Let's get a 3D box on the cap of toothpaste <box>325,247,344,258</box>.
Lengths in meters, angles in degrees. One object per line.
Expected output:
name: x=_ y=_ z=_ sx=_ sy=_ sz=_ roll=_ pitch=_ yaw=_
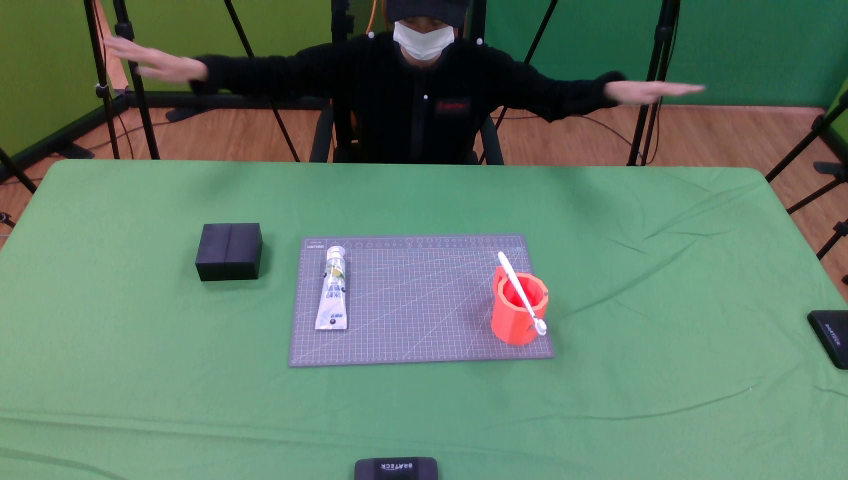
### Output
cap of toothpaste: x=-0.169 y=0.027 z=1.143 sx=0.037 sy=0.037 sz=0.011 roll=-6 pitch=46 yaw=-10

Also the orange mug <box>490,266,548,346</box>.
orange mug: x=0.155 y=0.107 z=1.051 sx=0.083 sy=0.101 sz=0.125 roll=-15 pitch=53 yaw=-17

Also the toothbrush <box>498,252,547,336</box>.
toothbrush: x=0.160 y=0.083 z=1.001 sx=0.014 sy=0.017 sz=0.180 roll=-14 pitch=48 yaw=-12

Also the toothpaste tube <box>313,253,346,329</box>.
toothpaste tube: x=-0.167 y=0.089 z=1.092 sx=0.055 sy=0.035 sz=0.164 roll=-4 pitch=50 yaw=0
